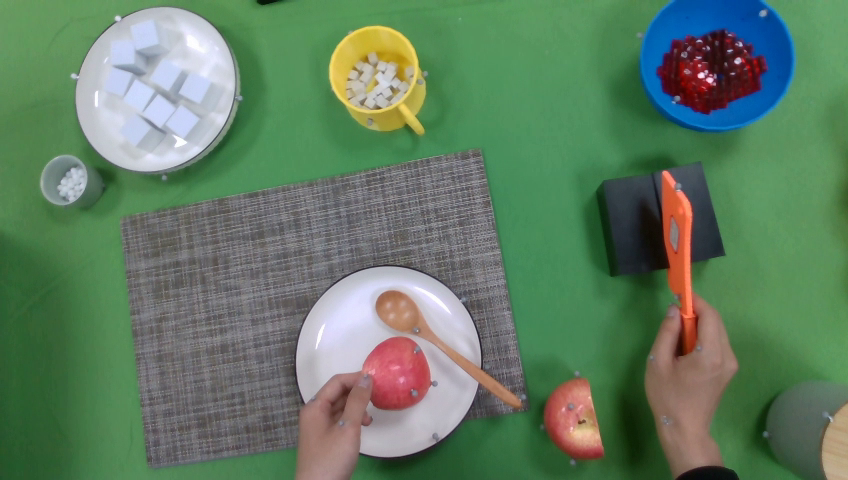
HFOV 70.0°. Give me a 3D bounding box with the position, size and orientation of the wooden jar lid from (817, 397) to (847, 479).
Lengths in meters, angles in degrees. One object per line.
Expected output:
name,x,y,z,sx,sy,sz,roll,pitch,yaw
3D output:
wooden jar lid,0.386,0.179,0.511,0.108,0.021,0.108,0,87,6

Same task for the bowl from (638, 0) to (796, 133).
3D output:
bowl,0.298,-0.179,0.644,0.151,0.077,0.151,-1,84,7

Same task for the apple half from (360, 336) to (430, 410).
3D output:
apple half,-0.024,0.139,0.623,0.082,0.032,0.081,8,76,-33

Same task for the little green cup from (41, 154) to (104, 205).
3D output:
little green cup,-0.426,-0.071,0.740,0.061,0.039,0.061,0,85,5

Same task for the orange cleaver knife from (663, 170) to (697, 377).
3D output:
orange cleaver knife,0.253,0.036,0.604,0.012,0.076,0.213,-10,112,7

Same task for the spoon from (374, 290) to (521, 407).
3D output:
spoon,0.023,0.118,0.651,0.192,0.022,0.041,36,77,21

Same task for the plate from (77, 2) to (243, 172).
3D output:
plate,-0.316,-0.183,0.739,0.207,0.039,0.207,-1,84,7

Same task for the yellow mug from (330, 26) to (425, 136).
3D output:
yellow mug,-0.042,-0.171,0.691,0.100,0.064,0.130,-39,82,1

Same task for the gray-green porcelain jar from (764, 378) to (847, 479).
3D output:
gray-green porcelain jar,0.395,0.187,0.572,0.106,0.127,0.105,-1,84,7

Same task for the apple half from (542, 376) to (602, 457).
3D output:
apple half,0.150,0.185,0.630,0.053,0.075,0.080,-13,86,9

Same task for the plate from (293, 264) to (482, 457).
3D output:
plate,-0.040,0.130,0.671,0.209,0.038,0.208,-1,85,7
